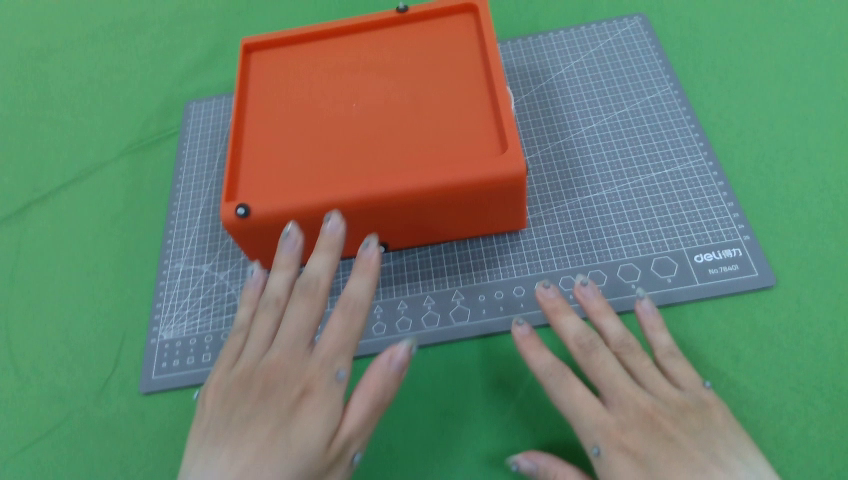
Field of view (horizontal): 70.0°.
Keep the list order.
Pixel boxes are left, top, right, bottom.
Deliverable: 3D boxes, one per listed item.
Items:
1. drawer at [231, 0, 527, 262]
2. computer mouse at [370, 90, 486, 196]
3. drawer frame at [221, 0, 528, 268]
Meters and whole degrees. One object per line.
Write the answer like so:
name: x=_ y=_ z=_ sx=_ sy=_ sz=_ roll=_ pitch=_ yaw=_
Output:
drawer: x=-0.035 y=-0.092 z=0.485 sx=0.211 sy=0.074 sz=0.192 roll=-9 pitch=57 yaw=5
computer mouse: x=0.004 y=-0.085 z=0.488 sx=0.062 sy=0.041 sz=0.116 roll=10 pitch=52 yaw=26
drawer frame: x=-0.037 y=-0.091 z=0.484 sx=0.213 sy=0.083 sz=0.199 roll=-10 pitch=57 yaw=4
